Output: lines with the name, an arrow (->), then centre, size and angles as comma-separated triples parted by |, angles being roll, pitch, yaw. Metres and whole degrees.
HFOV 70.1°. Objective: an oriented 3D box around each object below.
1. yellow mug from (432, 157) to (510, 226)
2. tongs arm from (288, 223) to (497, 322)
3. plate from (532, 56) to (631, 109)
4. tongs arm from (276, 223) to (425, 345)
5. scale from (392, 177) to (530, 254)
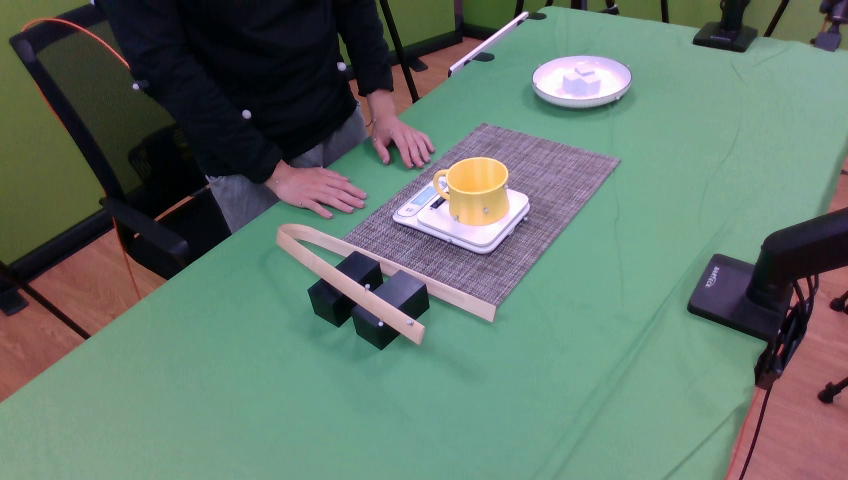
yellow mug -> 0.072, -0.082, 0.968 | 0.130, 0.064, 0.100 | 13, 45, 24
tongs arm -> -0.060, 0.043, 0.918 | 0.384, 0.028, 0.028 | 21, 24, 28
plate -> 0.336, -0.336, 1.301 | 0.207, 0.039, 0.206 | -4, 41, 4
tongs arm -> -0.114, 0.049, 0.856 | 0.051, 0.026, 0.381 | -7, 24, -43
scale -> 0.060, -0.050, 1.006 | 0.199, 0.032, 0.149 | 22, 48, 30
